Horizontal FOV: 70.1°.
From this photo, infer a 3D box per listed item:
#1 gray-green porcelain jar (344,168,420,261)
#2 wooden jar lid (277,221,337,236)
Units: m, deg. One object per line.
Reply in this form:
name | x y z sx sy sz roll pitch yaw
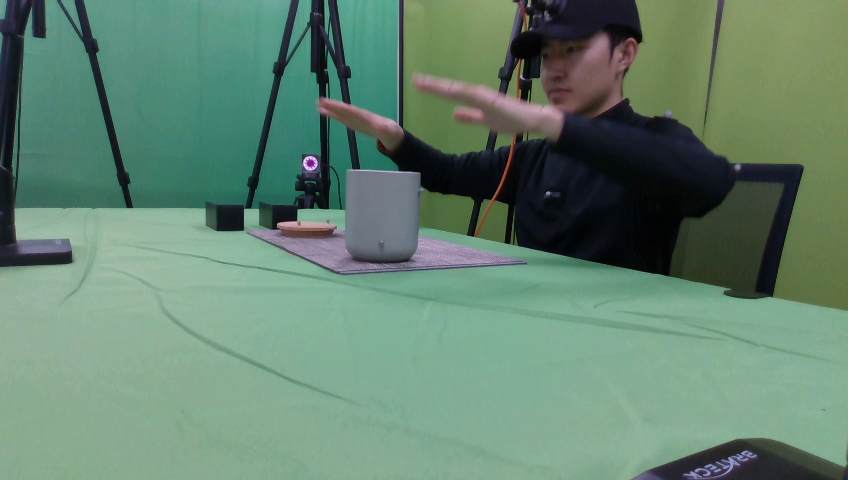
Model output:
gray-green porcelain jar | -0.059 -0.037 0.858 0.106 0.126 0.106 2 7 0
wooden jar lid | -0.215 -0.021 1.111 0.108 0.020 0.108 3 7 0
